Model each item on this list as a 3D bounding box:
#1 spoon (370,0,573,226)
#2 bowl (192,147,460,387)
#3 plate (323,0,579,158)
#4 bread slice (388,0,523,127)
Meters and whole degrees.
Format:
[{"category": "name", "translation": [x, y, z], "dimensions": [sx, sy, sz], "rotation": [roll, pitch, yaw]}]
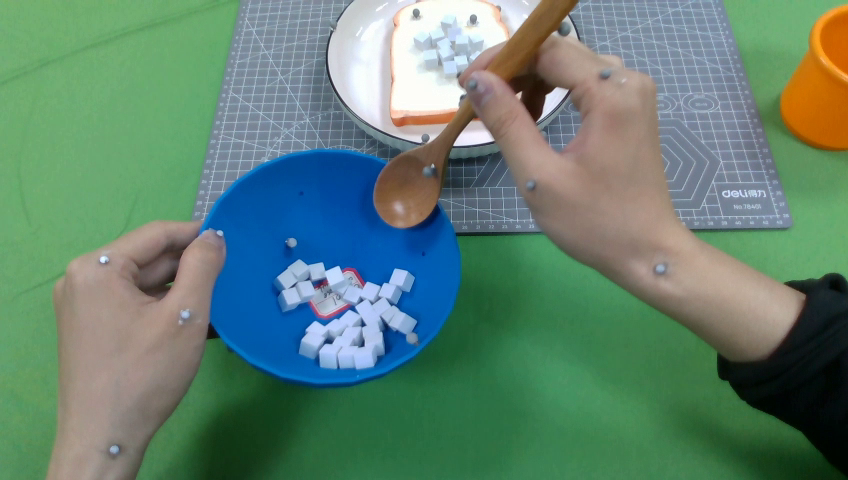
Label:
[{"category": "spoon", "translation": [0.018, -0.062, 0.314], "dimensions": [0.041, 0.194, 0.021], "rotation": [50, 53, 4]}, {"category": "bowl", "translation": [-0.059, 0.026, 0.378], "dimensions": [0.152, 0.077, 0.150], "rotation": [5, 62, -8]}, {"category": "plate", "translation": [0.021, -0.150, 0.509], "dimensions": [0.209, 0.038, 0.207], "rotation": [-1, 62, 2]}, {"category": "bread slice", "translation": [0.018, -0.153, 0.514], "dimensions": [0.107, 0.018, 0.133], "rotation": [-7, 63, -1]}]
